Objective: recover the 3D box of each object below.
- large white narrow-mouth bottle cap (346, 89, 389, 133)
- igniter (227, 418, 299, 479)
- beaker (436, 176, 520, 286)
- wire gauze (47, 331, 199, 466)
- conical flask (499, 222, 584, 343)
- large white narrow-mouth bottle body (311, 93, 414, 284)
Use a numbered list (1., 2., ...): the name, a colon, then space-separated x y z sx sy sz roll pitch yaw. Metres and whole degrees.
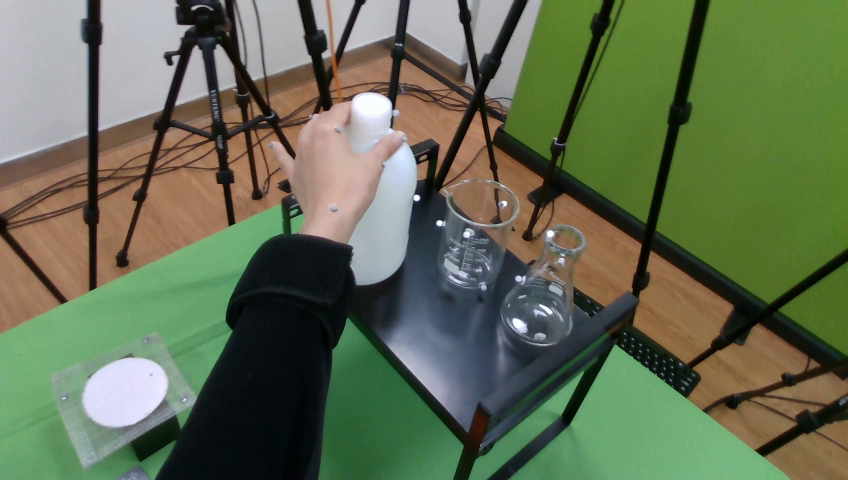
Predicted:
1. large white narrow-mouth bottle cap: -0.050 -0.115 0.538 0.038 0.024 0.037 5 44 -5
2. igniter: -0.117 0.289 0.621 0.057 0.025 0.274 -22 52 -42
3. beaker: 0.050 -0.007 0.640 0.083 0.101 0.074 25 46 17
4. wire gauze: -0.326 0.162 0.656 0.121 0.011 0.124 -25 54 -30
5. conical flask: 0.120 0.038 0.590 0.075 0.123 0.074 5 44 -5
6. large white narrow-mouth bottle body: -0.061 -0.053 0.597 0.102 0.196 0.101 5 44 -5
